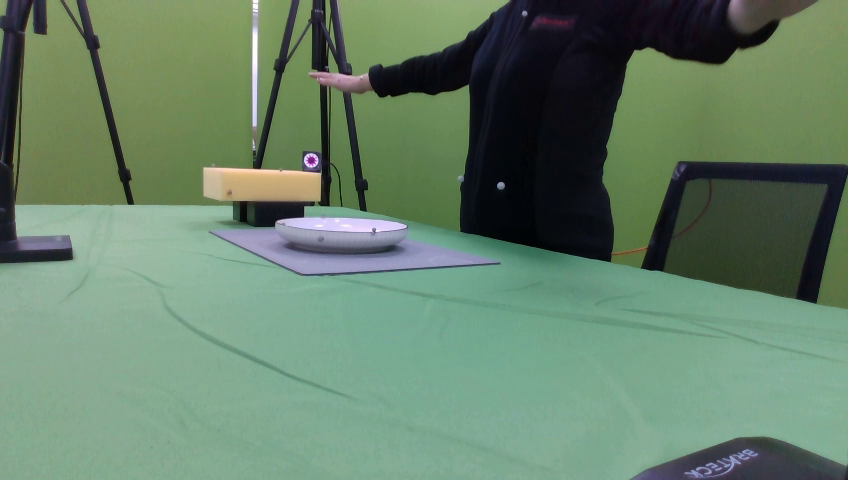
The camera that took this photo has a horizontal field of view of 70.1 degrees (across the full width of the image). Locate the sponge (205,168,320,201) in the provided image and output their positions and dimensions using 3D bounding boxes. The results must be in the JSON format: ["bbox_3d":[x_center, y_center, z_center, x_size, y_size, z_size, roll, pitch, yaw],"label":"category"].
[{"bbox_3d":[-0.332,-0.114,1.247,0.208,0.061,0.117,-3,9,-36],"label":"sponge"}]

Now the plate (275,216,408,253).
[{"bbox_3d":[-0.129,-0.009,0.954,0.209,0.038,0.209,2,7,0],"label":"plate"}]
